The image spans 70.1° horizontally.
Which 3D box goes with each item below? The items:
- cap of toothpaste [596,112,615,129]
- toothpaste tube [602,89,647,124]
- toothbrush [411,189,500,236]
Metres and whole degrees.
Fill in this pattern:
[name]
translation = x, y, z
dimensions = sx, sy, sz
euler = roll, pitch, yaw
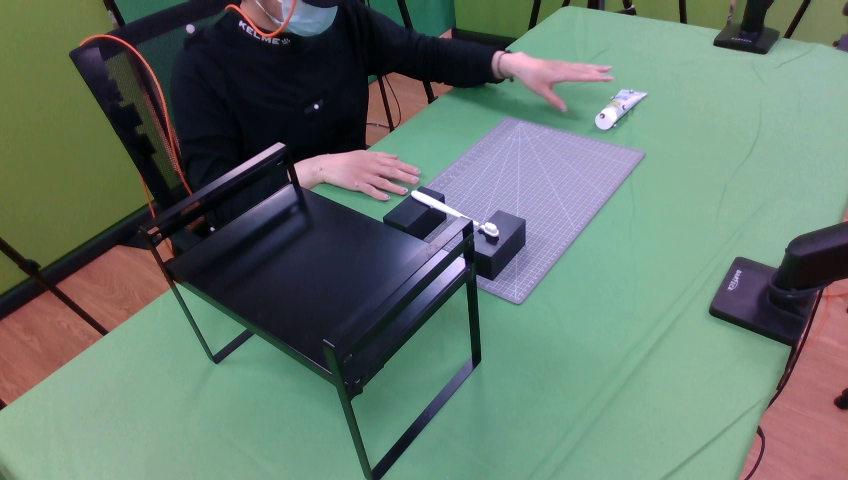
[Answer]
[cap of toothpaste]
translation = 0.354, -0.233, 1.177
dimensions = 0.037, 0.037, 0.011
euler = 20, 44, 28
[toothpaste tube]
translation = 0.401, -0.274, 1.227
dimensions = 0.054, 0.034, 0.165
euler = 22, 45, 26
[toothbrush]
translation = 0.044, -0.046, 0.940
dimensions = 0.180, 0.017, 0.014
euler = 28, 67, 36
